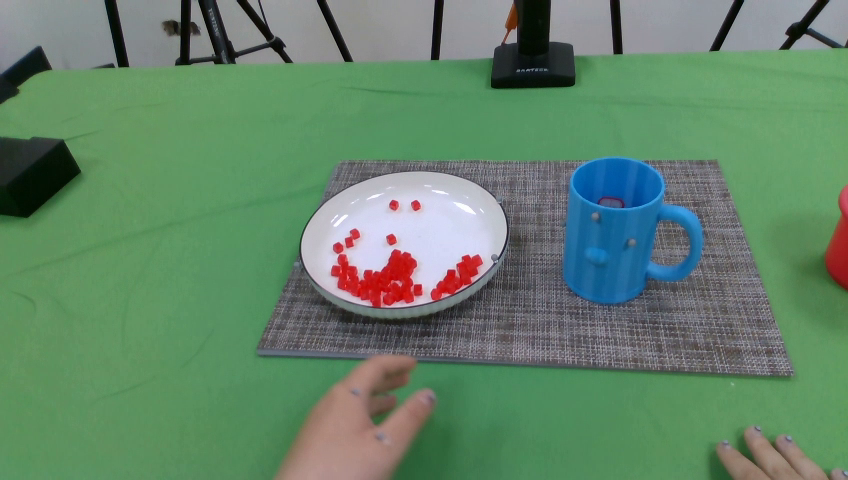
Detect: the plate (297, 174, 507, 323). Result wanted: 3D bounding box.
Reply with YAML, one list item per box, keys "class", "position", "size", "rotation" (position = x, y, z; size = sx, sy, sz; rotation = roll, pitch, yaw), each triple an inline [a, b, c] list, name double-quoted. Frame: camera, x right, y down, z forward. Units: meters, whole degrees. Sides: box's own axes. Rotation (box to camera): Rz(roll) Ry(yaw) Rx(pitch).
- class: "plate"
  position: [-0.020, 0.008, 0.605]
  size: [0.207, 0.039, 0.205]
  rotation: [-4, 41, 4]

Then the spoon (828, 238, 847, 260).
- class: "spoon"
  position: [0.430, -0.010, 0.486]
  size: [0.041, 0.193, 0.021]
  rotation: [-32, 92, -32]

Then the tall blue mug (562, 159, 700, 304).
- class: "tall blue mug"
  position: [0.180, -0.007, 0.539]
  size: [0.107, 0.109, 0.077]
  rotation: [-3, 40, 5]
